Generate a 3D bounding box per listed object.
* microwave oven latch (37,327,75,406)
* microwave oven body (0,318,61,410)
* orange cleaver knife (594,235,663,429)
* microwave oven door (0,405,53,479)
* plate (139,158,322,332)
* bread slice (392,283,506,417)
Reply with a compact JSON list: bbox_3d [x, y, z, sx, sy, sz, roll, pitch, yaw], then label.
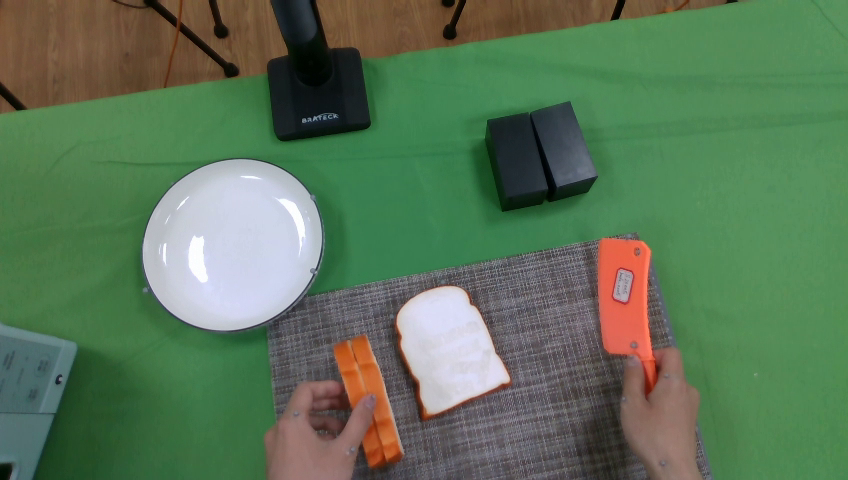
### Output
[{"bbox_3d":[-0.407,0.137,0.654,0.030,0.029,0.079,13,76,4],"label":"microwave oven latch"},{"bbox_3d":[-0.590,0.249,0.525,0.326,0.261,0.439,11,75,3],"label":"microwave oven body"},{"bbox_3d":[0.218,0.094,0.655,0.012,0.077,0.210,2,79,-33],"label":"orange cleaver knife"},{"bbox_3d":[-0.455,0.314,0.499,0.039,0.245,0.354,11,75,5],"label":"microwave oven door"},{"bbox_3d":[-0.220,0.006,0.708,0.208,0.039,0.206,0,74,0],"label":"plate"},{"bbox_3d":[0.025,0.117,0.682,0.107,0.018,0.134,-17,84,-9],"label":"bread slice"}]
